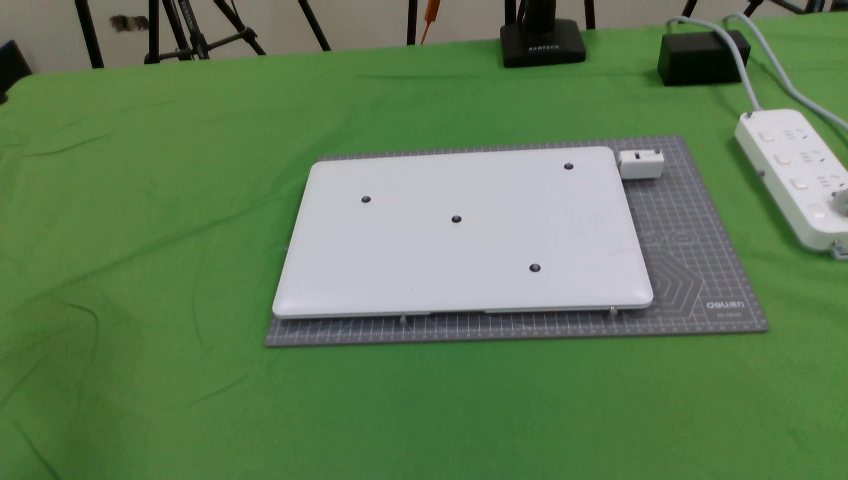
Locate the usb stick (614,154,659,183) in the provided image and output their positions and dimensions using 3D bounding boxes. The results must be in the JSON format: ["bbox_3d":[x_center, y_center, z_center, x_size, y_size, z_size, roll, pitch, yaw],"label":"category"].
[{"bbox_3d":[0.228,-0.079,0.672,0.059,0.027,0.021,-4,42,8],"label":"usb stick"}]

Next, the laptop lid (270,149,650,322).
[{"bbox_3d":[0.032,-0.014,0.630,0.356,0.013,0.239,-2,45,6],"label":"laptop lid"}]

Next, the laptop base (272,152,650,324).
[{"bbox_3d":[0.034,-0.007,0.640,0.354,0.023,0.233,-3,46,5],"label":"laptop base"}]

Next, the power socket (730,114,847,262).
[{"bbox_3d":[0.397,-0.067,0.644,0.072,0.033,0.224,-3,43,3],"label":"power socket"}]

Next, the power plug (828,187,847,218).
[{"bbox_3d":[0.425,-0.032,0.574,0.072,0.053,0.035,6,45,10],"label":"power plug"}]
